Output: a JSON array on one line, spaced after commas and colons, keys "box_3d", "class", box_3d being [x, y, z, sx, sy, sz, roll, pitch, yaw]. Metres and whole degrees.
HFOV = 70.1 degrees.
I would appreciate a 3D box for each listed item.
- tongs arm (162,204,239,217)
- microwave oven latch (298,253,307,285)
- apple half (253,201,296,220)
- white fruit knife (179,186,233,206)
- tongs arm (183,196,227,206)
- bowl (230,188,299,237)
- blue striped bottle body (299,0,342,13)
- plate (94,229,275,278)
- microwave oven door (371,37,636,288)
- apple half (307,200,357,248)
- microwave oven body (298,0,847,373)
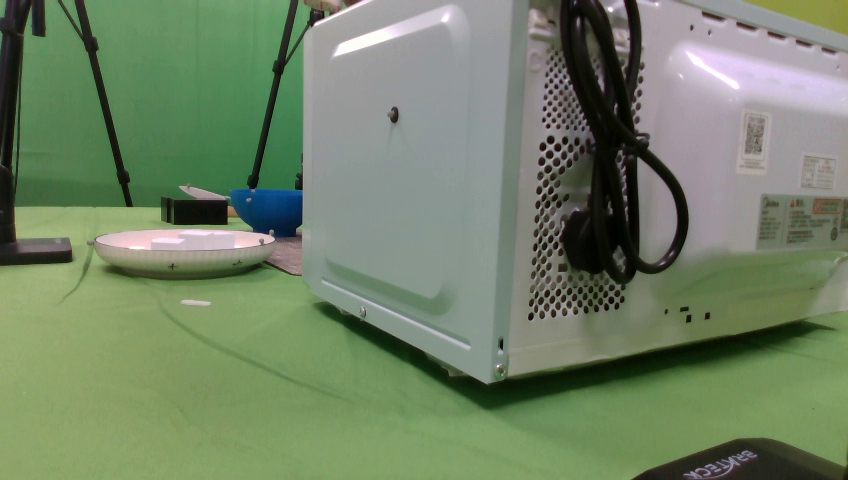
[{"box_3d": [-0.396, -0.065, 1.399, 0.389, 0.028, 0.028, 1, 6, -15], "class": "tongs arm"}, {"box_3d": [-0.081, 0.027, 0.583, 0.079, 0.029, 0.030, -2, 8, -33], "class": "microwave oven latch"}, {"box_3d": [-0.264, -0.053, 1.067, 0.081, 0.033, 0.081, 1, 8, 0], "class": "apple half"}, {"box_3d": [-0.413, -0.081, 1.270, 0.208, 0.027, 0.016, 18, 13, -41], "class": "white fruit knife"}, {"box_3d": [-0.404, -0.081, 1.479, 0.385, 0.026, 0.050, 4, 9, -2], "class": "tongs arm"}, {"box_3d": [-0.264, -0.048, 1.066, 0.151, 0.077, 0.151, 3, 8, 0], "class": "bowl"}, {"box_3d": [-0.147, -0.409, 0.903, 0.063, 0.120, 0.063, 10, 6, -1], "class": "blue striped bottle body"}, {"box_3d": [-0.291, 0.016, 0.750, 0.208, 0.039, 0.207, 2, 7, 0], "class": "plate"}, {"box_3d": [0.109, -0.080, 0.686, 0.358, 0.243, 0.039, -2, 9, -33], "class": "microwave oven door"}, {"box_3d": [-0.135, -0.024, 0.942, 0.053, 0.074, 0.081, 13, 8, 38], "class": "apple half"}, {"box_3d": [0.151, -0.055, 0.542, 0.444, 0.260, 0.324, -2, 7, -33], "class": "microwave oven body"}]
